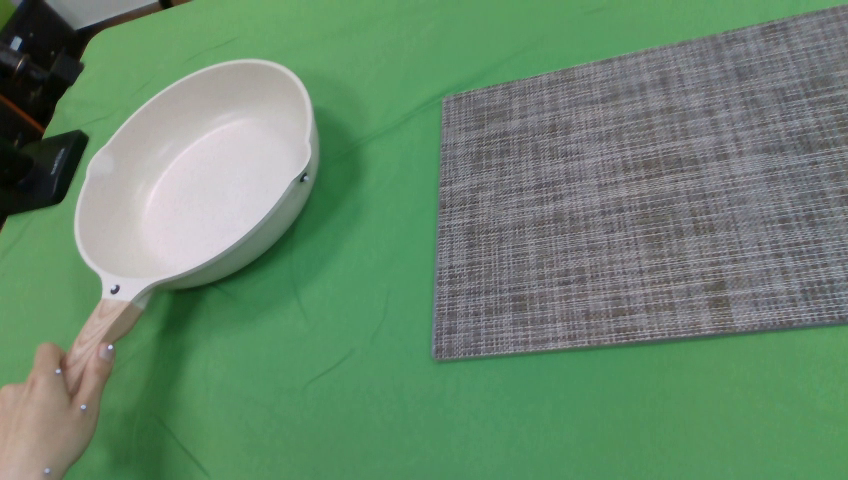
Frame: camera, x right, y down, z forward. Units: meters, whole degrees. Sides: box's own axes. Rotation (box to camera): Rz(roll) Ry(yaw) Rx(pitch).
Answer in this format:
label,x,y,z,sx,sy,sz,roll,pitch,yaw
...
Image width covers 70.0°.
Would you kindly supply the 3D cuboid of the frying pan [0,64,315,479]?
label,x,y,z,sx,sy,sz,roll,pitch,yaw
frying pan,-0.277,0.015,0.615,0.305,0.104,0.484,3,53,25
